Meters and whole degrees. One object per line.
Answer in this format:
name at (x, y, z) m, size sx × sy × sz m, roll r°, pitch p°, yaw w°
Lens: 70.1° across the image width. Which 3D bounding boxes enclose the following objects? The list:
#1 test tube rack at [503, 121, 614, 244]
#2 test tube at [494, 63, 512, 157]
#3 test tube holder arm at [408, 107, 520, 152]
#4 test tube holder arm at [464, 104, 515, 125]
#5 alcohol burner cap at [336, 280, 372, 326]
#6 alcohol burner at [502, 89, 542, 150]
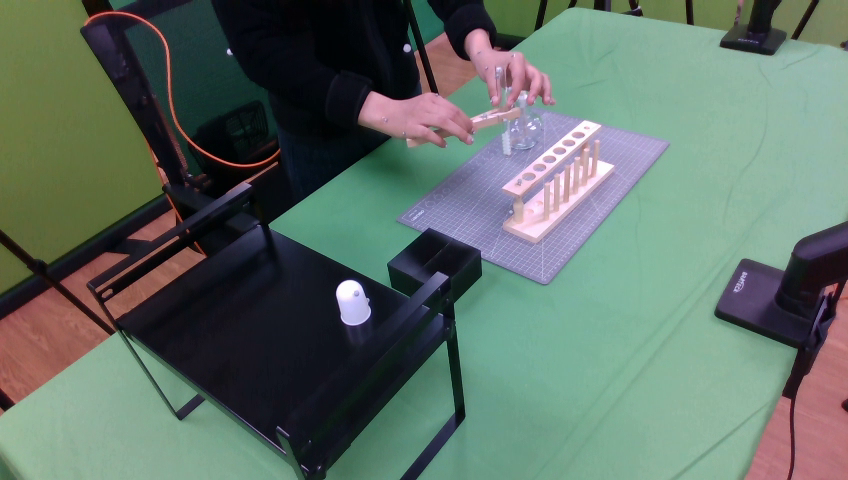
test tube rack at (0.230, -0.102, 1.006) m, size 0.066 × 0.085 × 0.243 m, roll 27°, pitch 51°, yaw 34°
test tube at (0.121, -0.193, 0.914) m, size 0.017 × 0.151 × 0.017 m, roll -7°, pitch 37°, yaw 6°
test tube holder arm at (0.061, -0.165, 0.898) m, size 0.179 × 0.015 × 0.013 m, roll -21°, pitch 32°, yaw -11°
test tube holder arm at (0.100, -0.184, 0.913) m, size 0.088 × 0.015 × 0.010 m, roll -25°, pitch 33°, yaw -17°
alcohol burner cap at (-0.073, 0.061, 0.619) m, size 0.034 × 0.048 × 0.033 m, roll -4°, pitch 41°, yaw 4°
alcohol burner at (0.186, -0.233, 1.147) m, size 0.078 × 0.119 × 0.077 m, roll -5°, pitch 42°, yaw 5°
